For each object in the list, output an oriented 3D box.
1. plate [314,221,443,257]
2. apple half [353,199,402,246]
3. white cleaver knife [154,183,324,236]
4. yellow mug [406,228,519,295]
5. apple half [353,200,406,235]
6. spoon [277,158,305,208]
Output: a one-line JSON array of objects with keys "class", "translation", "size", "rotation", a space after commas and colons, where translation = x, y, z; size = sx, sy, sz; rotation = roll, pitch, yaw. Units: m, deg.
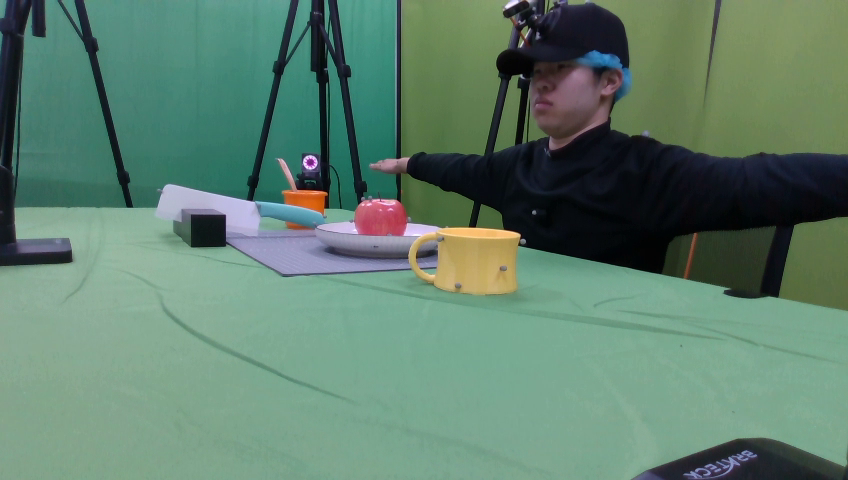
[{"class": "plate", "translation": [-0.067, -0.002, 0.948], "size": [0.209, 0.038, 0.209], "rotation": [3, 7, 0]}, {"class": "apple half", "translation": [-0.076, -0.029, 0.946], "size": [0.081, 0.081, 0.032], "rotation": [0, 12, -18]}, {"class": "white cleaver knife", "translation": [-0.310, -0.042, 1.049], "size": [0.288, 0.066, 0.021], "rotation": [10, 4, -28]}, {"class": "yellow mug", "translation": [0.044, 0.022, 0.707], "size": [0.131, 0.064, 0.100], "rotation": [2, 7, 4]}, {"class": "apple half", "translation": [-0.064, -0.023, 0.909], "size": [0.081, 0.074, 0.053], "rotation": [3, 11, -17]}, {"class": "spoon", "translation": [-0.272, -0.103, 1.260], "size": [0.042, 0.193, 0.021], "rotation": [-4, -34, -33]}]
